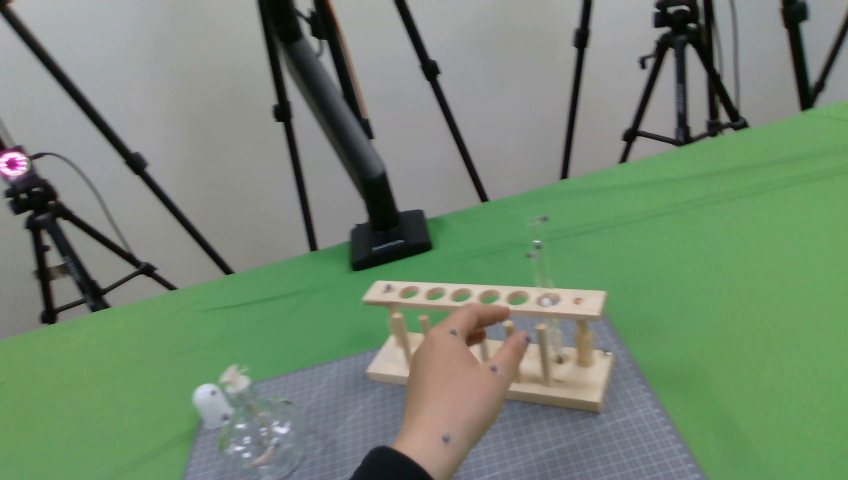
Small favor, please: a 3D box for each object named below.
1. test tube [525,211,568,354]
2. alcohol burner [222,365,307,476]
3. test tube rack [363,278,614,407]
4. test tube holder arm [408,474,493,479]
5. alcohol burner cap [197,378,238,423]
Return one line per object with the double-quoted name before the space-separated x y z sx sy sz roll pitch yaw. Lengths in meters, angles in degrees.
"test tube" 0.112 0.043 0.548 0.017 0.151 0.017 -13 26 7
"alcohol burner" -0.152 0.159 0.555 0.078 0.120 0.077 -11 31 7
"test tube rack" 0.053 0.094 0.591 0.241 0.086 0.066 1 34 28
"test tube holder arm" 0.072 0.195 0.473 0.178 0.015 0.013 -5 65 19
"alcohol burner cap" -0.222 0.168 0.647 0.034 0.048 0.033 -11 31 7
